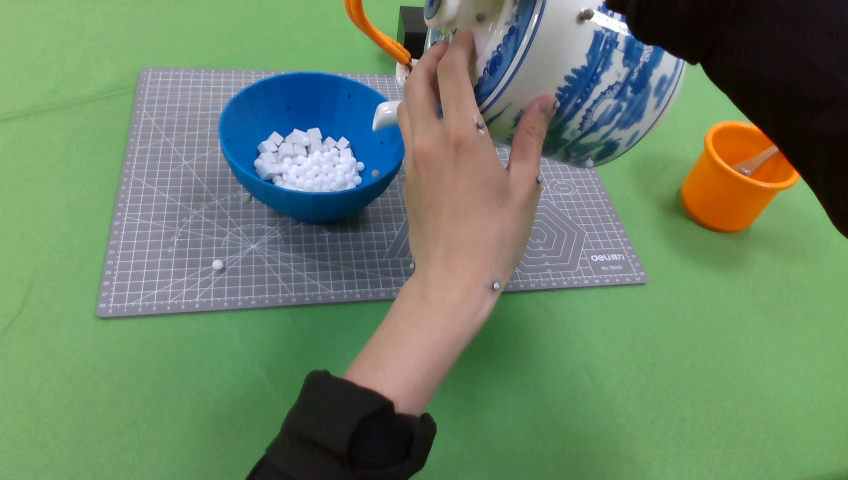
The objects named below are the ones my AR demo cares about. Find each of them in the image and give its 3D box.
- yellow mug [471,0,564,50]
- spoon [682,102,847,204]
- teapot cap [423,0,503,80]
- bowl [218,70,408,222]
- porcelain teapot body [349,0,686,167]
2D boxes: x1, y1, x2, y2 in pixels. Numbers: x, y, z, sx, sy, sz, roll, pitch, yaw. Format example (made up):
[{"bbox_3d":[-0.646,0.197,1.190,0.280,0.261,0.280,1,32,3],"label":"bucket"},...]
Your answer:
[{"bbox_3d":[0.100,-0.256,0.654,0.099,0.064,0.130,25,53,9],"label":"yellow mug"},{"bbox_3d":[0.342,-0.090,0.578,0.022,0.194,0.041,34,32,-44],"label":"spoon"},{"bbox_3d":[0.023,-0.148,0.395,0.044,0.085,0.084,6,48,-28],"label":"teapot cap"},{"bbox_3d":[-0.093,-0.068,0.518,0.152,0.077,0.150,5,50,-6],"label":"bowl"},{"bbox_3d":[0.043,-0.128,0.435,0.227,0.206,0.144,11,58,-29],"label":"porcelain teapot body"}]
